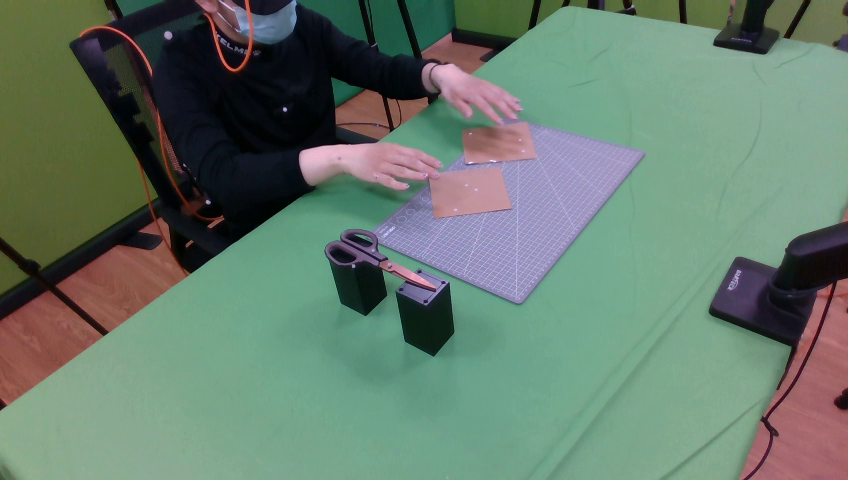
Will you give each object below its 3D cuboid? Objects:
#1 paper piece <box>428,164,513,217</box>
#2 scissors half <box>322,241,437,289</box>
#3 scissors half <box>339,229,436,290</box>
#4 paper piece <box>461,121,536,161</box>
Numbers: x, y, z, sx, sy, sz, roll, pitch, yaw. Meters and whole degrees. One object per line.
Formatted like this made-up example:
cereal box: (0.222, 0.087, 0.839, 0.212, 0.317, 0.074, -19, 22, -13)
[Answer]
paper piece: (0.079, -0.091, 1.069, 0.135, 0.004, 0.135, -6, 41, 0)
scissors half: (-0.060, 0.035, 0.788, 0.174, 0.013, 0.040, 16, 40, 21)
scissors half: (-0.048, 0.025, 0.801, 0.173, 0.013, 0.040, 31, 52, 33)
paper piece: (0.143, -0.193, 1.182, 0.136, 0.009, 0.137, -2, 39, 2)
